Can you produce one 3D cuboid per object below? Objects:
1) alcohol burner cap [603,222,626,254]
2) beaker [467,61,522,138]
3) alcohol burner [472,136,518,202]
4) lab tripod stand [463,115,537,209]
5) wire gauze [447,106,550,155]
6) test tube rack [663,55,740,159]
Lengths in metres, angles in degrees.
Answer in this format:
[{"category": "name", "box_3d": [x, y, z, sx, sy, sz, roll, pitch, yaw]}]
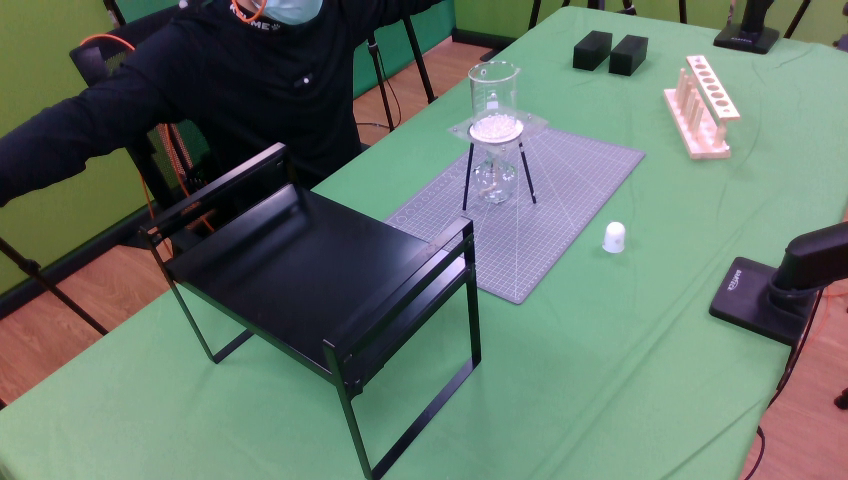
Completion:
[{"category": "alcohol burner cap", "box_3d": [0.291, -0.006, 0.921, 0.034, 0.048, 0.033, -4, 40, 4]}, {"category": "beaker", "box_3d": [0.112, -0.217, 0.941, 0.084, 0.101, 0.073, -13, 39, -7]}, {"category": "alcohol burner", "box_3d": [0.121, -0.125, 1.023, 0.078, 0.119, 0.077, -3, 41, 3]}, {"category": "lab tripod stand", "box_3d": [0.120, -0.134, 1.018, 0.148, 0.132, 0.147, -5, 39, 5]}, {"category": "wire gauze", "box_3d": [0.119, -0.182, 0.974, 0.122, 0.011, 0.124, -32, 42, -29]}, {"category": "test tube rack", "box_3d": [0.518, -0.256, 1.144, 0.066, 0.085, 0.241, -1, 41, 8]}]
